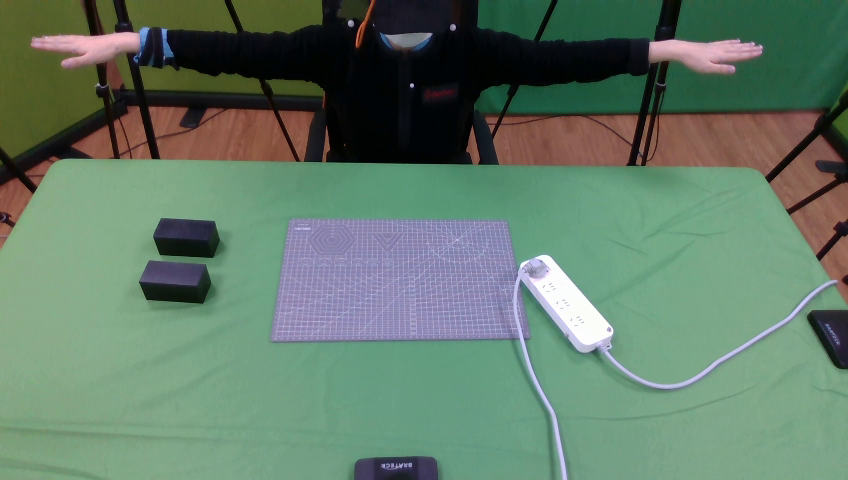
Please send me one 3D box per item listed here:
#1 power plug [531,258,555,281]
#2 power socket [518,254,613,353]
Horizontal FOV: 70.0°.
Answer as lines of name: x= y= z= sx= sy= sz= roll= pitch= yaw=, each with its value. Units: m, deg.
power plug: x=0.231 y=0.059 z=1.116 sx=0.073 sy=0.035 sz=0.052 roll=23 pitch=40 yaw=-11
power socket: x=0.252 y=0.111 z=1.099 sx=0.072 sy=0.033 sz=0.225 roll=-19 pitch=50 yaw=-19
